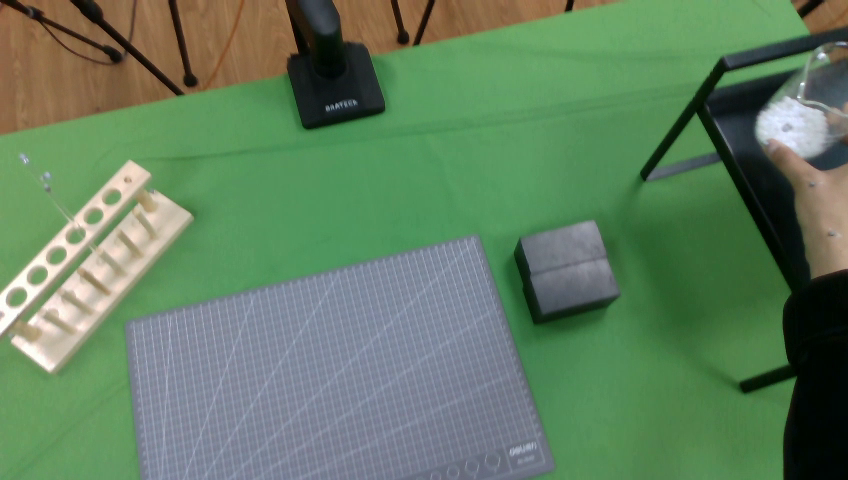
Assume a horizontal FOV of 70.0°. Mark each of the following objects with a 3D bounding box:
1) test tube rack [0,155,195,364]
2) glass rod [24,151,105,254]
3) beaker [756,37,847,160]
[{"bbox_3d":[-0.391,0.022,0.718,0.066,0.086,0.241,32,71,11],"label":"test tube rack"},{"bbox_3d":[-0.390,-0.035,0.670,0.008,0.201,0.008,2,60,-3],"label":"glass rod"},{"bbox_3d":[0.361,-0.123,0.559,0.084,0.101,0.073,-21,73,-5],"label":"beaker"}]
